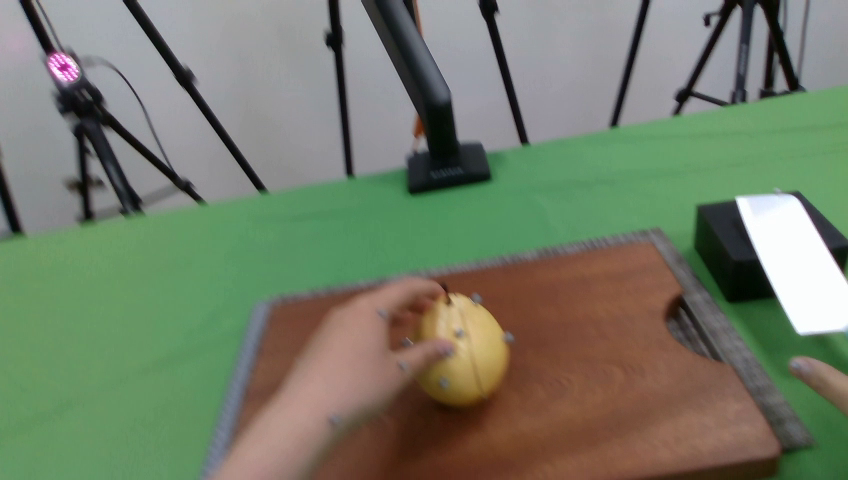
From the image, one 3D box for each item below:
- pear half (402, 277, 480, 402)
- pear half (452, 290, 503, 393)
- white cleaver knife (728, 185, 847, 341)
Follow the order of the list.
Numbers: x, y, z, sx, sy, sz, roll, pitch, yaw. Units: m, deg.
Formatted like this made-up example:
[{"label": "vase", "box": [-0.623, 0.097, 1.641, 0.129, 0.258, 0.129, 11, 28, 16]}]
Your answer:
[{"label": "pear half", "box": [0.008, 0.074, 0.466, 0.056, 0.111, 0.075, -15, 30, -4]}, {"label": "pear half", "box": [0.044, 0.075, 0.472, 0.031, 0.088, 0.070, -14, 26, -4]}, {"label": "white cleaver knife", "box": [0.321, 0.053, 0.491, 0.066, 0.022, 0.283, -10, 44, 9]}]
